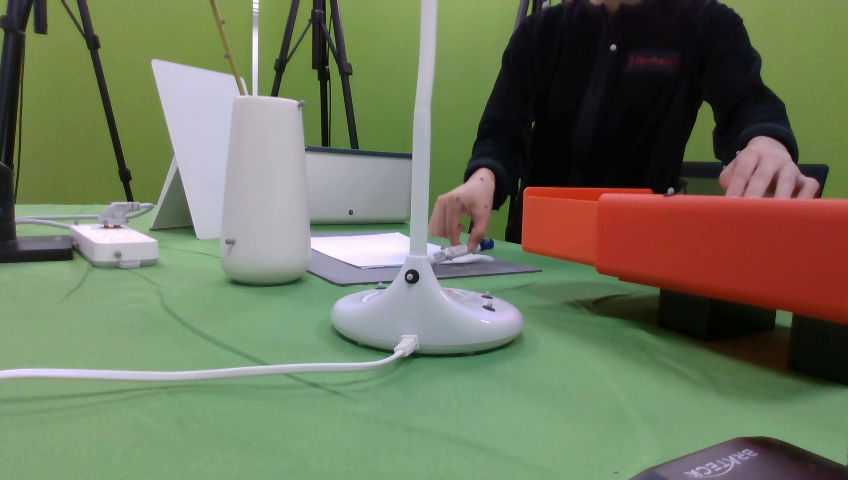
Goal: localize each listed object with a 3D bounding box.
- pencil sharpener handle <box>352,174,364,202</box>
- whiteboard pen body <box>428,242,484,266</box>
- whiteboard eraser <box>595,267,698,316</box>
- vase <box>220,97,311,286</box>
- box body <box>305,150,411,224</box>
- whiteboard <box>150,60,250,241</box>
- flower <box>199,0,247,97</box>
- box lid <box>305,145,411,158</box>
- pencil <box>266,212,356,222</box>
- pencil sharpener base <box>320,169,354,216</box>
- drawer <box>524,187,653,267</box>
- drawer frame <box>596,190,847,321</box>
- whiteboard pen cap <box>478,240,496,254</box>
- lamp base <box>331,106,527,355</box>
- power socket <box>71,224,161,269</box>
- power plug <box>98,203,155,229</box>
[{"bbox_3d":[-0.157,-0.125,1.450,0.031,0.068,0.036,2,19,-11],"label":"pencil sharpener handle"},{"bbox_3d":[0.045,0.017,0.793,0.017,0.017,0.141,9,14,41],"label":"whiteboard pen body"},{"bbox_3d":[0.199,0.027,0.575,0.056,0.042,0.112,7,31,-50],"label":"whiteboard eraser"},{"bbox_3d":[-0.172,-0.052,0.662,0.098,0.200,0.098,3,8,0],"label":"vase"},{"bbox_3d":[-0.230,-0.126,1.371,0.366,0.160,0.253,-2,8,-33],"label":"box body"},{"bbox_3d":[-0.408,-0.139,1.093,0.143,0.305,0.218,-15,-1,26],"label":"whiteboard"},{"bbox_3d":[-0.187,-0.133,0.648,0.038,0.362,0.044,-1,21,42],"label":"flower"},{"bbox_3d":[-0.228,-0.200,1.362,0.373,0.015,0.262,-1,8,-33],"label":"box lid"},{"bbox_3d":[-0.244,-0.049,1.319,0.195,0.012,0.012,4,7,-12],"label":"pencil"},{"bbox_3d":[-0.207,-0.113,1.438,0.077,0.107,0.061,2,6,-11],"label":"pencil sharpener base"},{"bbox_3d":[0.238,-0.011,0.599,0.195,0.073,0.210,-1,8,-29],"label":"drawer"},{"bbox_3d":[0.292,0.002,0.504,0.203,0.082,0.212,-1,6,-31],"label":"drawer frame"},{"bbox_3d":[0.084,0.011,0.837,0.018,0.018,0.033,9,14,42],"label":"whiteboard pen cap"},{"bbox_3d":[0.006,-0.012,0.478,0.161,0.180,0.179,2,10,2],"label":"lamp base"},{"bbox_3d":[-0.408,0.004,0.793,0.072,0.032,0.225,-2,8,-38],"label":"power socket"},{"bbox_3d":[-0.416,-0.026,0.848,0.073,0.052,0.035,1,7,-28],"label":"power plug"}]
